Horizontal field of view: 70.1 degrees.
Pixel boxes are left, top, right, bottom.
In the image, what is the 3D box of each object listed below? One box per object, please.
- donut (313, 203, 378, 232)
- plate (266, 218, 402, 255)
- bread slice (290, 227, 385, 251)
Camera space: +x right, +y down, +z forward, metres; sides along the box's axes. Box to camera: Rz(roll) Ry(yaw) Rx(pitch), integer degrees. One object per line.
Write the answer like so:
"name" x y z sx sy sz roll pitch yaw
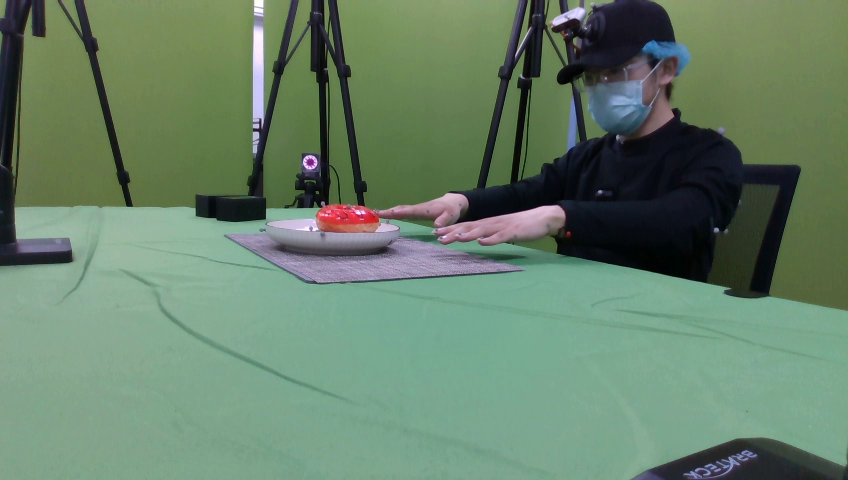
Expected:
"donut" -0.118 -0.030 0.915 0.099 0.048 0.099 5 9 0
"plate" -0.138 -0.006 0.941 0.208 0.039 0.207 2 7 0
"bread slice" -0.142 -0.004 0.939 0.131 0.019 0.105 9 9 33
